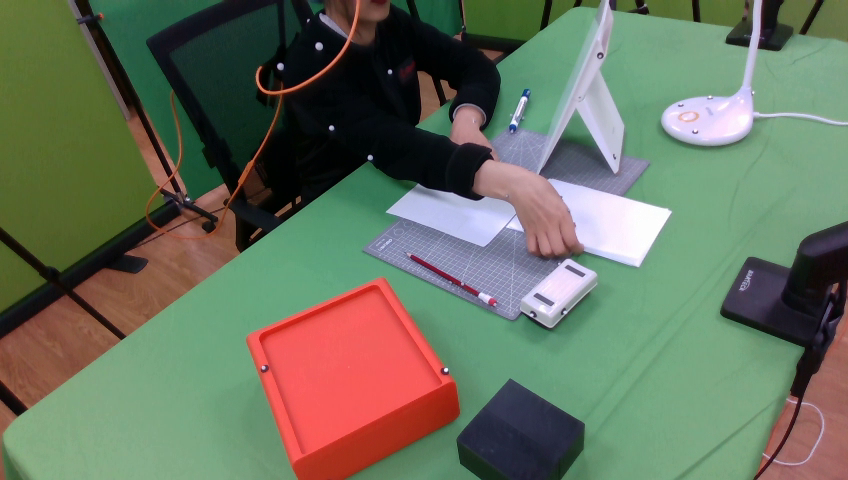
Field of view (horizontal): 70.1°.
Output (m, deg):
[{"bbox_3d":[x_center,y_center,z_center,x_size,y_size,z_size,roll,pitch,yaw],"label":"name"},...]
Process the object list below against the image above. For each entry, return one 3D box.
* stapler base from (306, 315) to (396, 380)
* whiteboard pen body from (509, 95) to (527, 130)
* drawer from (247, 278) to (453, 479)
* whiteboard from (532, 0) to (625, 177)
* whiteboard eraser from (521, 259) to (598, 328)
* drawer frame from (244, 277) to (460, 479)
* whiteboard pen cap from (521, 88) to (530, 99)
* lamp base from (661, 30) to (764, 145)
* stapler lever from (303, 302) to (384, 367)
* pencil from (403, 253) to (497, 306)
[{"bbox_3d":[-0.101,0.138,0.819,0.131,0.024,0.041,-31,37,-13],"label":"stapler base"},{"bbox_3d":[0.199,-0.272,1.262,0.017,0.017,0.140,8,44,19],"label":"whiteboard pen body"},{"bbox_3d":[-0.096,0.167,0.758,0.195,0.073,0.210,-22,43,-16],"label":"drawer"},{"bbox_3d":[0.321,-0.258,1.050,0.144,0.306,0.217,21,45,5],"label":"whiteboard"},{"bbox_3d":[0.189,0.076,0.843,0.055,0.042,0.113,29,53,37],"label":"whiteboard eraser"},{"bbox_3d":[-0.093,0.167,0.755,0.202,0.083,0.211,-23,43,-17],"label":"drawer frame"},{"bbox_3d":[0.219,-0.312,1.301,0.018,0.018,0.033,6,46,17],"label":"whiteboard pen cap"},{"bbox_3d":[0.535,-0.287,1.096,0.179,0.181,0.159,-10,40,-4],"label":"lamp base"},{"bbox_3d":[-0.108,0.123,0.805,0.118,0.040,0.026,-27,36,-15],"label":"stapler lever"},{"bbox_3d":[0.034,0.056,0.914,0.192,0.012,0.012,27,52,38],"label":"pencil"}]
